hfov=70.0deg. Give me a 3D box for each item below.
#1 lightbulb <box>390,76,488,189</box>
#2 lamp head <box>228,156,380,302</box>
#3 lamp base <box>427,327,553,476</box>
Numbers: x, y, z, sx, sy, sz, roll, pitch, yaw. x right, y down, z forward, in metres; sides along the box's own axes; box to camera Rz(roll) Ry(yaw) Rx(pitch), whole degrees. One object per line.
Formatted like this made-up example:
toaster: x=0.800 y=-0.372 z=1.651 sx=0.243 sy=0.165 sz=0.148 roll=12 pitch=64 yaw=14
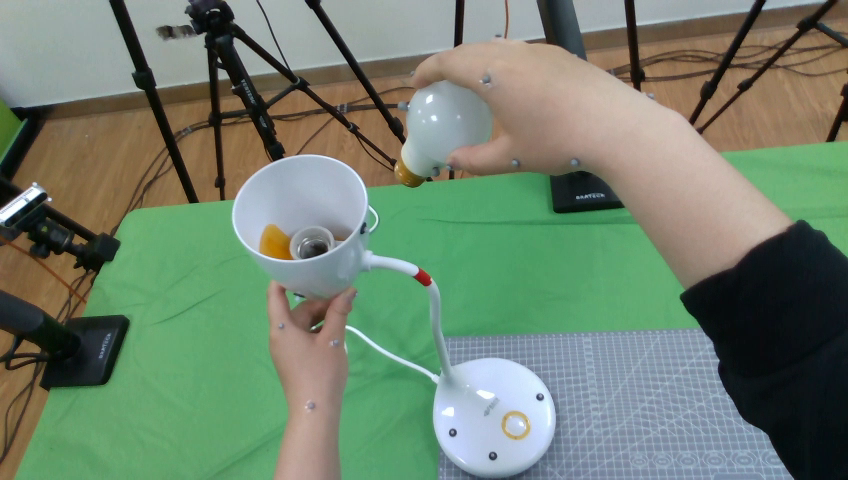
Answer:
lightbulb: x=0.004 y=-0.071 z=0.436 sx=0.060 sy=0.108 sz=0.059 roll=13 pitch=58 yaw=-22
lamp head: x=-0.099 y=0.003 z=0.543 sx=0.112 sy=0.124 sz=0.111 roll=-4 pitch=56 yaw=6
lamp base: x=0.063 y=0.180 z=0.742 sx=0.178 sy=0.182 sz=0.160 roll=18 pitch=59 yaw=27
